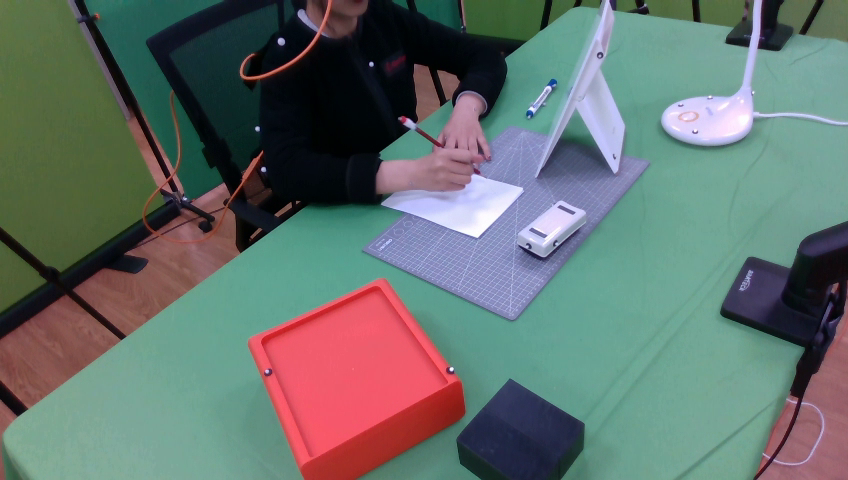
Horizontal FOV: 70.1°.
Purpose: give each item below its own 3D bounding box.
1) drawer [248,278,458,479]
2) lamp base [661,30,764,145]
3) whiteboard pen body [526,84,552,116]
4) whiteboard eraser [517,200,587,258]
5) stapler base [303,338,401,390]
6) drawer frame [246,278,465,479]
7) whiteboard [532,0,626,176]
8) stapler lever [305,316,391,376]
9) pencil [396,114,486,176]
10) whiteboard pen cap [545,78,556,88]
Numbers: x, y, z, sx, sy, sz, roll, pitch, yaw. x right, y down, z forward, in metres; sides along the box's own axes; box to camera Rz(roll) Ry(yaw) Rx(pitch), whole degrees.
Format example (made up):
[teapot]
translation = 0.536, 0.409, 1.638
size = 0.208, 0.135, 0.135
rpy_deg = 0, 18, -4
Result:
[drawer]
translation = -0.092, 0.168, 0.756
size = 0.195, 0.073, 0.210
rpy_deg = -24, 43, -18
[lamp base]
translation = 0.535, -0.287, 1.096
size = 0.179, 0.181, 0.159
rpy_deg = -10, 40, -4
[whiteboard pen body]
translation = 0.251, -0.305, 1.298
size = 0.017, 0.017, 0.141
rpy_deg = 15, 45, 26
[whiteboard eraser]
translation = 0.201, -0.016, 0.943
size = 0.113, 0.042, 0.055
rpy_deg = -37, 46, -29
[stapler base]
translation = -0.096, 0.159, 0.812
size = 0.131, 0.024, 0.041
rpy_deg = -17, 43, -17
[drawer frame]
translation = -0.088, 0.168, 0.752
size = 0.202, 0.083, 0.211
rpy_deg = -24, 43, -18
[whiteboard]
translation = 0.321, -0.258, 1.050
size = 0.144, 0.306, 0.217
rpy_deg = 21, 45, 5
[stapler lever]
translation = -0.099, 0.137, 0.789
size = 0.118, 0.040, 0.026
rpy_deg = -22, 45, -12
[pencil]
translation = 0.033, -0.157, 1.026
size = 0.012, 0.195, 0.012
rpy_deg = -42, 31, 33
[whiteboard pen cap]
translation = 0.280, -0.344, 1.335
size = 0.018, 0.018, 0.033
rpy_deg = 15, 45, 26
